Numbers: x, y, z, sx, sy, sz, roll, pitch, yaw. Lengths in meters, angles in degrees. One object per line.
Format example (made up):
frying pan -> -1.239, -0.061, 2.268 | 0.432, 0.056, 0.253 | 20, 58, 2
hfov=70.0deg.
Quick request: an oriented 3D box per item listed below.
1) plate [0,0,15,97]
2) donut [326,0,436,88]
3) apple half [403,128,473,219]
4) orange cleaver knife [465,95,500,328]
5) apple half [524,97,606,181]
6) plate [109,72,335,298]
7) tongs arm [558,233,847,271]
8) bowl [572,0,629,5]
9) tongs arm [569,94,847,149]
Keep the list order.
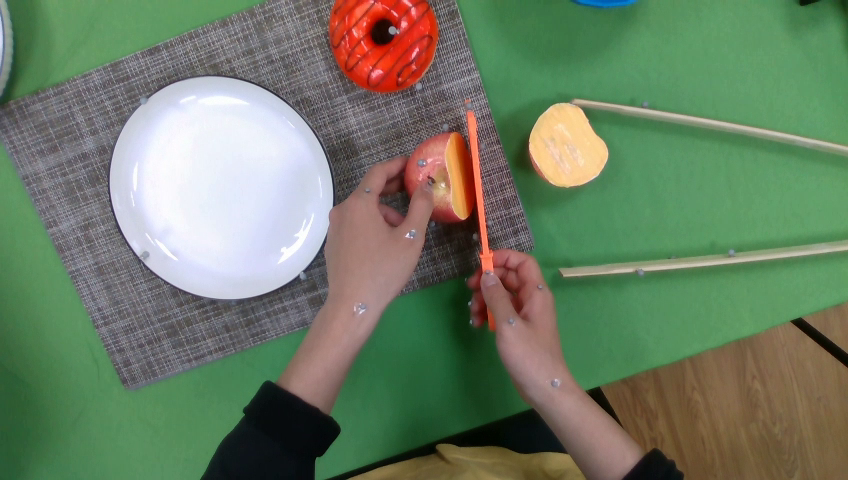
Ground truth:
plate -> -0.469, -0.192, 0.546 | 0.208, 0.039, 0.208 | 0, 102, 0
donut -> -0.038, -0.186, 0.539 | 0.099, 0.048, 0.099 | 0, 103, 2
apple half -> 0.010, -0.060, 0.552 | 0.053, 0.074, 0.081 | -3, 108, 23
orange cleaver knife -> 0.052, -0.025, 0.557 | 0.012, 0.077, 0.212 | -7, 104, 5
apple half -> 0.125, -0.089, 0.567 | 0.081, 0.033, 0.081 | 2, 82, -12
plate -> -0.185, -0.050, 0.572 | 0.209, 0.038, 0.210 | 0, 102, 0
tongs arm -> 0.322, -0.009, 0.585 | 0.385, 0.026, 0.051 | -4, 98, 0
bowl -> 0.145, -0.271, 0.507 | 0.151, 0.076, 0.152 | 0, 103, 0
tongs arm -> 0.324, -0.095, 0.570 | 0.388, 0.027, 0.028 | 10, 94, -3
